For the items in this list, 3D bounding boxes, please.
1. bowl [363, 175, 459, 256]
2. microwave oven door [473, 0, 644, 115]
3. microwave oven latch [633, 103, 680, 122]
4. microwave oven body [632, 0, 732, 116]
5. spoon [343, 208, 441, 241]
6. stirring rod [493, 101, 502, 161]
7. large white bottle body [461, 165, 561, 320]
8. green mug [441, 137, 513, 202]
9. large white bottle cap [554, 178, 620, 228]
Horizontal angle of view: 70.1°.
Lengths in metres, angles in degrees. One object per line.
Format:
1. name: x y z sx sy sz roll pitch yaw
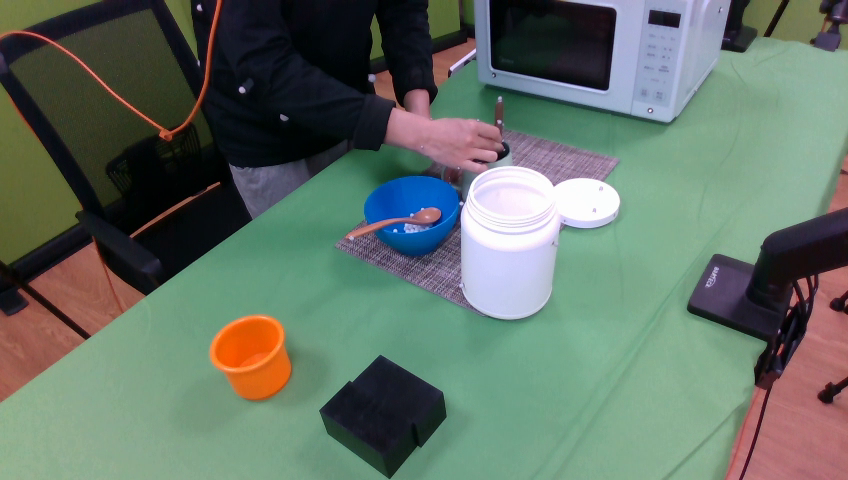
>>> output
1. bowl: -0.017 -0.028 0.954 0.151 0.077 0.150 -4 40 4
2. microwave oven door: 0.257 -0.396 1.199 0.353 0.245 0.039 21 48 29
3. microwave oven latch: 0.443 -0.249 1.157 0.078 0.029 0.030 20 48 29
4. microwave oven body: 0.377 -0.463 1.267 0.438 0.261 0.327 21 49 30
5. spoon: -0.046 -0.025 0.911 0.041 0.021 0.195 26 27 37
6. stirring rod: 0.120 -0.147 0.987 0.014 0.177 0.005 -24 44 -20
7. large white bottle body: 0.115 0.004 0.816 0.130 0.185 0.130 -2 43 2
8. green mug: 0.090 -0.108 1.012 0.125 0.105 0.092 2 41 11
9. large white bottle cap: 0.265 -0.063 1.001 0.115 0.018 0.114 -3 42 3
